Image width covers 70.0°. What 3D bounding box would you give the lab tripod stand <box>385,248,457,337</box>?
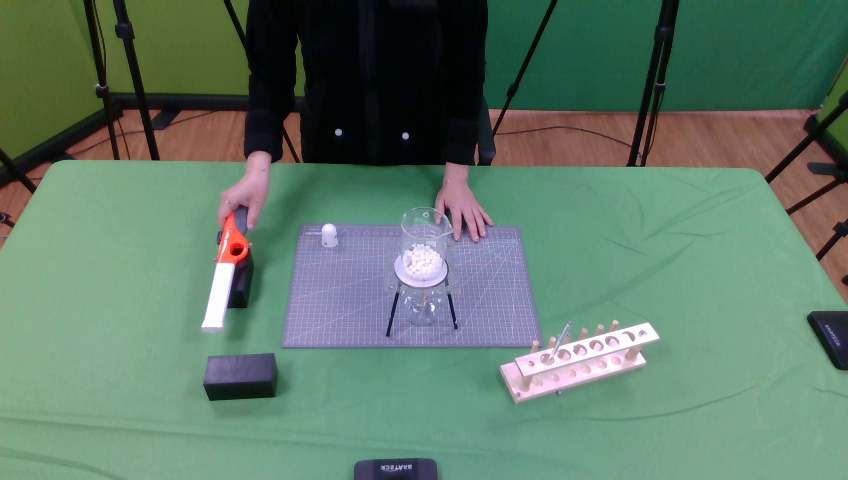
[{"bbox_3d":[-0.010,0.087,1.032,0.148,0.132,0.147,1,45,-1],"label":"lab tripod stand"}]

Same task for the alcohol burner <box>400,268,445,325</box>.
[{"bbox_3d":[-0.003,0.092,1.042,0.078,0.120,0.077,1,46,-1],"label":"alcohol burner"}]

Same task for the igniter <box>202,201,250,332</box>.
[{"bbox_3d":[-0.344,0.036,1.058,0.057,0.025,0.274,3,51,-6],"label":"igniter"}]

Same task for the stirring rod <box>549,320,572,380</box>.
[{"bbox_3d":[0.202,0.167,0.901,0.006,0.177,0.014,-16,55,-10],"label":"stirring rod"}]

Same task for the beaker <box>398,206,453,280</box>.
[{"bbox_3d":[0.000,0.008,0.950,0.084,0.101,0.073,10,45,6],"label":"beaker"}]

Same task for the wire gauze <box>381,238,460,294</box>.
[{"bbox_3d":[-0.007,0.042,0.985,0.125,0.011,0.120,-1,43,-2],"label":"wire gauze"}]

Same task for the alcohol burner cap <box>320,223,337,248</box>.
[{"bbox_3d":[-0.187,-0.011,1.176,0.034,0.048,0.033,1,46,-1],"label":"alcohol burner cap"}]

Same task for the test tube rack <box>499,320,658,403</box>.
[{"bbox_3d":[0.252,0.187,0.994,0.243,0.085,0.066,-12,48,-15],"label":"test tube rack"}]
